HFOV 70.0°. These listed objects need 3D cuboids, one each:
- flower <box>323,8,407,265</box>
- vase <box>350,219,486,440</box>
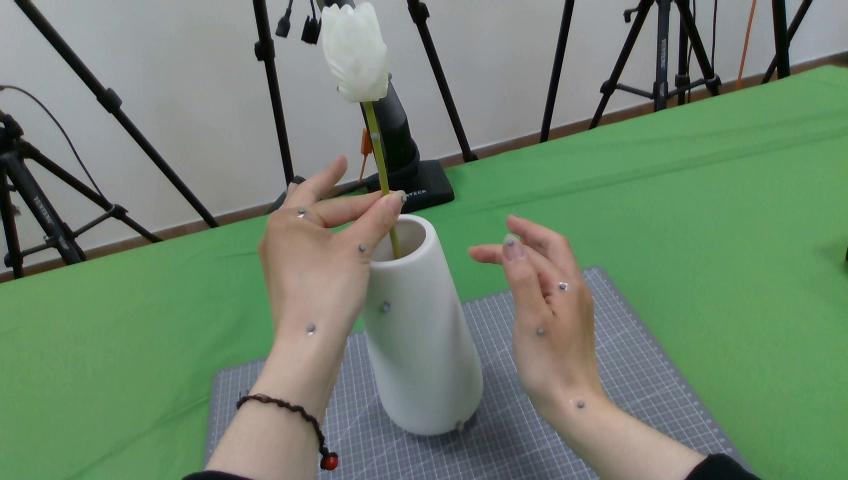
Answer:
[{"bbox_3d":[-0.017,0.014,0.458,0.038,0.365,0.043,-22,31,-18],"label":"flower"},{"bbox_3d":[-0.005,0.081,0.523,0.098,0.202,0.097,-9,34,7],"label":"vase"}]
